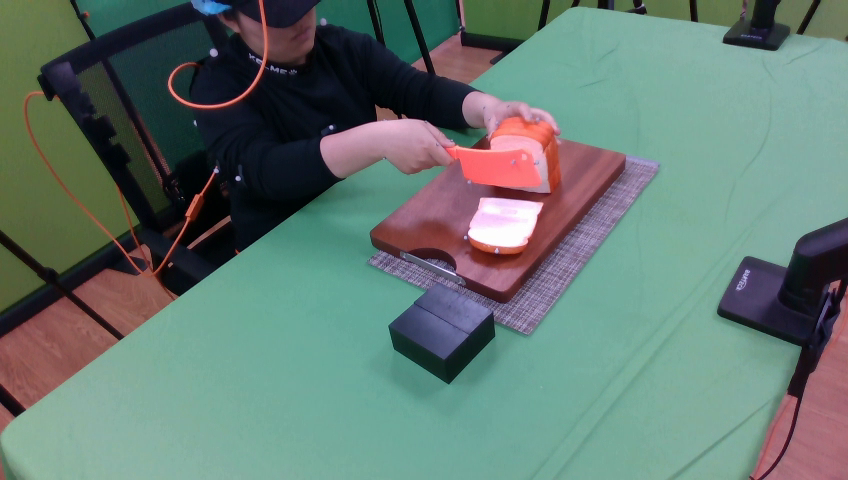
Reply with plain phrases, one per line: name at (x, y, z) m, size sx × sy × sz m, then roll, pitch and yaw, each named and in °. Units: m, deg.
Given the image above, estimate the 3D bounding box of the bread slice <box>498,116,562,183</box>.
bread slice at (0.175, -0.148, 1.002) m, size 0.106 × 0.135 × 0.018 m, roll 12°, pitch 56°, yaw 21°

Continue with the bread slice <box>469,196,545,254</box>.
bread slice at (0.124, -0.024, 0.943) m, size 0.104 × 0.019 × 0.131 m, roll 8°, pitch 39°, yaw 18°

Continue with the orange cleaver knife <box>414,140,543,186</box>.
orange cleaver knife at (0.083, -0.121, 0.944) m, size 0.210 × 0.077 × 0.012 m, roll 11°, pitch 45°, yaw 26°
